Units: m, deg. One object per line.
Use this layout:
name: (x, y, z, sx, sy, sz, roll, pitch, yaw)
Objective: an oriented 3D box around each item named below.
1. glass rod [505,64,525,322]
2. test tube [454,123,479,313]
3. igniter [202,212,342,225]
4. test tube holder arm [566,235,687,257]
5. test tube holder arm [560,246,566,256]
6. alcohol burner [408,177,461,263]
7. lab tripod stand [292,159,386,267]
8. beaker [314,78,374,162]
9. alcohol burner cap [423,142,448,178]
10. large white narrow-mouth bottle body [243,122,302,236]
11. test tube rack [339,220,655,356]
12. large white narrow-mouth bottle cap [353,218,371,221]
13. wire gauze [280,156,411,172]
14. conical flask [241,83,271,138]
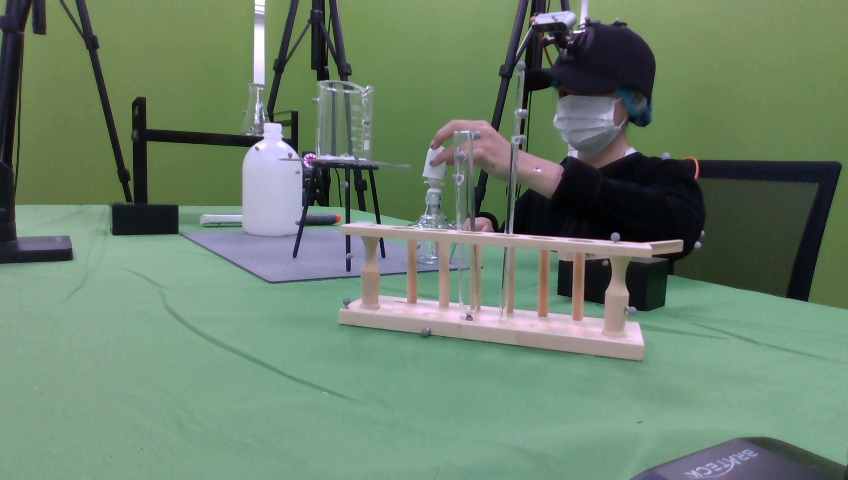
glass rod: (0.069, -0.030, 0.458, 0.008, 0.199, 0.008, 0, 15, 0)
test tube: (0.034, -0.016, 0.477, 0.017, 0.150, 0.017, -2, 9, 1)
igniter: (-0.298, -0.043, 1.216, 0.278, 0.025, 0.057, -3, -2, -32)
test tube holder arm: (0.215, 0.006, 0.630, 0.179, 0.015, 0.013, -3, 10, -30)
test tube holder arm: (0.173, 0.007, 0.611, 0.088, 0.015, 0.010, -3, 10, -30)
alcohol burner: (0.014, -0.029, 0.834, 0.078, 0.119, 0.078, 0, 6, 0)
lab tripod stand: (-0.105, -0.039, 0.797, 0.148, 0.131, 0.148, 2, 5, 0)
beaker: (-0.101, -0.150, 0.774, 0.074, 0.100, 0.083, -2, 8, -40)
alcohol burner cap: (0.018, -0.109, 0.821, 0.034, 0.048, 0.034, 10, 9, -1)
large white narrow-mouth bottle body: (-0.264, -0.109, 1.061, 0.102, 0.194, 0.102, 2, 8, 0)
test tube rack: (0.056, 0.032, 0.495, 0.242, 0.085, 0.067, 4, 7, 15)
large white narrow-mouth bottle cap: (-0.120, -0.029, 1.184, 0.038, 0.024, 0.037, 2, 8, 0)
wire gauze: (-0.103, -0.103, 0.785, 0.121, 0.011, 0.126, 11, 8, 42)
conical flask: (-0.384, -0.297, 1.393, 0.075, 0.122, 0.075, 2, 7, 0)
